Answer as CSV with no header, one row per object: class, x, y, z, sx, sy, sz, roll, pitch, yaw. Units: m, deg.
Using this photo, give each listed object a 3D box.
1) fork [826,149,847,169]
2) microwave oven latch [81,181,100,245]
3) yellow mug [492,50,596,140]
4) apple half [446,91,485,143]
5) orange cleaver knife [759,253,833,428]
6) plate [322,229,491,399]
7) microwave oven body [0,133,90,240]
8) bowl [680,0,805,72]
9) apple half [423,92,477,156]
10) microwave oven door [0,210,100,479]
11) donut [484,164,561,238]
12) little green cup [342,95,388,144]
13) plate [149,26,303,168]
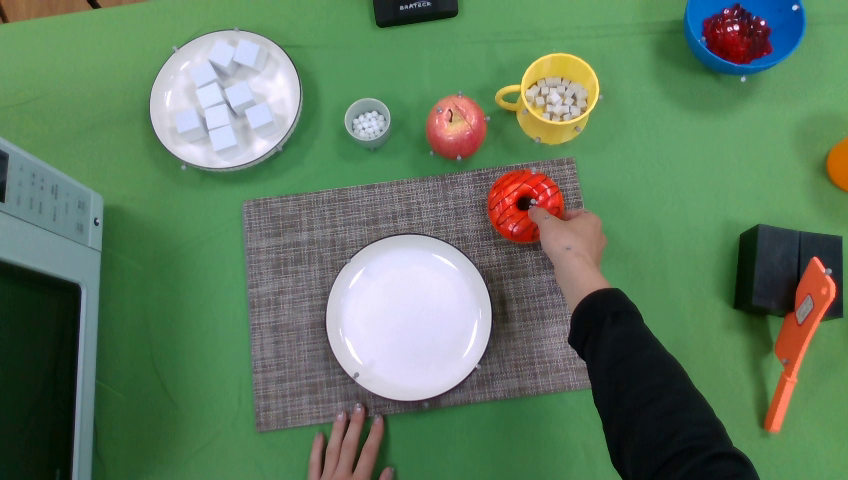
fork,0.603,-0.116,0.725,0.206,0.019,0.028,-12,69,45
microwave oven latch,-0.439,-0.034,0.784,0.030,0.029,0.079,-3,78,1
yellow mug,0.156,-0.191,0.803,0.131,0.064,0.099,3,77,4
apple half,0.060,-0.166,0.796,0.033,0.081,0.081,-35,77,-1
orange cleaver knife,0.428,0.119,0.710,0.012,0.077,0.212,11,110,7
plate,-0.021,0.090,0.755,0.209,0.038,0.208,-1,77,3
microwave oven body,-0.578,0.127,0.654,0.326,0.261,0.439,-5,77,1
bowl,0.408,-0.283,0.808,0.151,0.077,0.150,-1,77,3
apple half,0.027,-0.144,0.794,0.053,0.075,0.080,-34,81,-1
microwave oven door,-0.430,0.155,0.637,0.039,0.245,0.354,-5,77,1
donut,0.126,-0.050,0.778,0.099,0.048,0.098,-1,80,7
little green cup,-0.077,-0.160,0.819,0.061,0.039,0.061,-1,77,3
plate,-0.268,-0.194,0.834,0.207,0.039,0.206,0,77,2
